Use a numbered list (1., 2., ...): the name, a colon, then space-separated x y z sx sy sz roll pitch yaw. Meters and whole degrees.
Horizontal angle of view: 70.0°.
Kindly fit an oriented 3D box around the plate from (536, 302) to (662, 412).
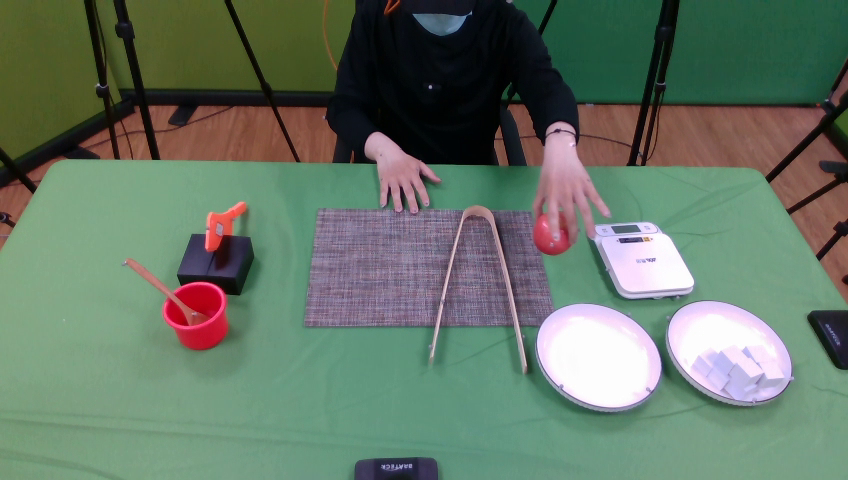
1. plate: 0.288 0.197 1.016 0.209 0.038 0.208 2 46 -2

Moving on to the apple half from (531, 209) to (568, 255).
1. apple half: 0.225 -0.013 1.117 0.053 0.075 0.080 -7 48 -9

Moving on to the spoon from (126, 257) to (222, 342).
1. spoon: -0.408 0.096 0.990 0.194 0.021 0.041 50 53 -18

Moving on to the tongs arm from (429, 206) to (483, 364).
1. tongs arm: 0.065 0.069 1.124 0.051 0.026 0.382 8 45 5

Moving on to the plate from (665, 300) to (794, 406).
1. plate: 0.513 0.194 1.033 0.208 0.039 0.206 2 46 -2

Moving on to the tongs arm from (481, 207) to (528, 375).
1. tongs arm: 0.149 0.077 1.124 0.028 0.028 0.385 -4 46 -2

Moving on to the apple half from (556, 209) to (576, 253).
1. apple half: 0.263 -0.017 1.125 0.033 0.081 0.080 -7 47 -8

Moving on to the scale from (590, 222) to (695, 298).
1. scale: 0.424 0.031 1.189 0.149 0.032 0.199 -3 46 -7

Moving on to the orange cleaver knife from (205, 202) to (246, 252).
1. orange cleaver knife: -0.374 -0.029 1.150 0.012 0.077 0.211 4 13 0
